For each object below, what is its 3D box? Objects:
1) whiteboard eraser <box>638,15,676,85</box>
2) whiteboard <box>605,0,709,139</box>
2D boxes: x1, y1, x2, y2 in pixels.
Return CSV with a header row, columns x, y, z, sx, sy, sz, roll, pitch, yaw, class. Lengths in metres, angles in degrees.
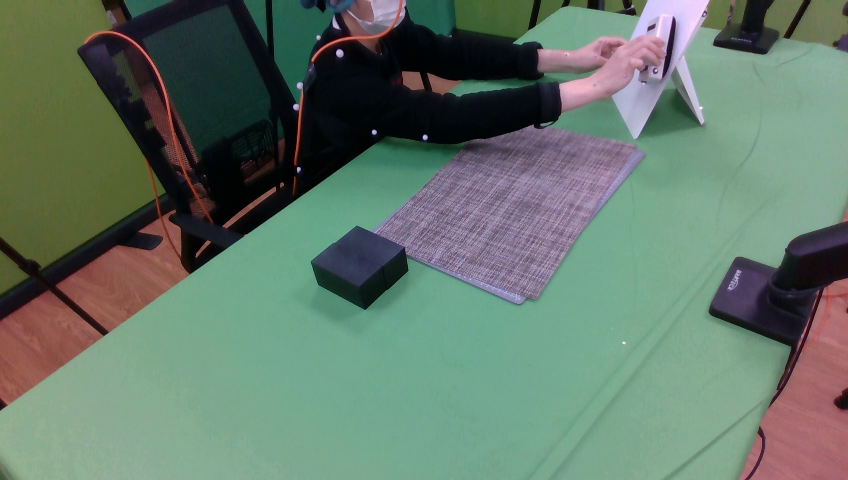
x,y,z,sx,sy,sz,roll,pitch,yaw,class
0.416,-0.337,1.076,0.042,0.112,0.055,8,6,-10,whiteboard eraser
0.496,-0.358,1.146,0.144,0.305,0.216,10,40,-8,whiteboard
